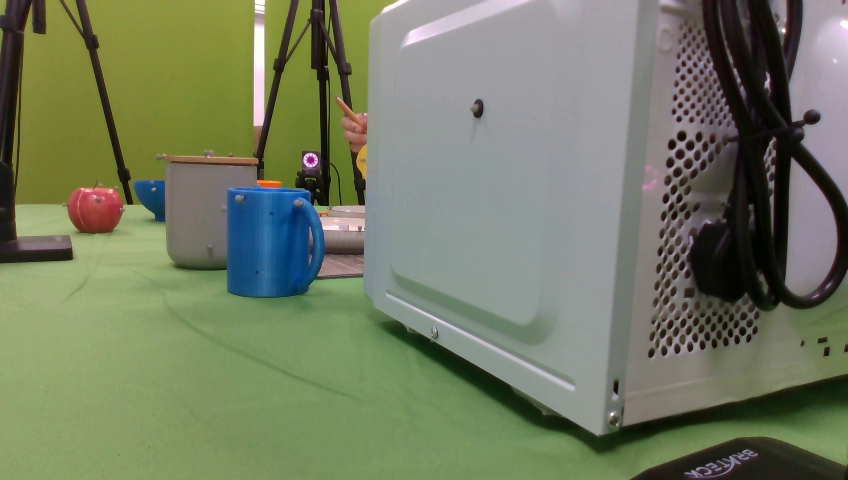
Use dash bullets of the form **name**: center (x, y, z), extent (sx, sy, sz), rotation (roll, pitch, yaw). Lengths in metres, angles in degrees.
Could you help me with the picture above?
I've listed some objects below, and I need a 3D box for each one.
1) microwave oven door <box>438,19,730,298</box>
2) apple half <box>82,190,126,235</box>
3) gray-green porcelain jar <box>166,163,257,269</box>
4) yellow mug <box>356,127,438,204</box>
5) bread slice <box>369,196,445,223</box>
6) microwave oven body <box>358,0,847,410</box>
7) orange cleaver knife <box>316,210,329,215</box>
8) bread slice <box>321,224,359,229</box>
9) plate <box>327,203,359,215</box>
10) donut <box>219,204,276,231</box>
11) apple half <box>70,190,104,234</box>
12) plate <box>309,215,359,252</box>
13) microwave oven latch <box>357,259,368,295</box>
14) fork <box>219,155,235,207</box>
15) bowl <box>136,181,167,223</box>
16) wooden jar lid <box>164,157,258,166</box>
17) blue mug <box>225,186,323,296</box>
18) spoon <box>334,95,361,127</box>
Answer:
- **microwave oven door**: center (0.181, -0.076, 0.618), extent (0.358, 0.243, 0.039), rotation (-2, 8, -28)
- **apple half**: center (-0.516, -0.046, 0.994), extent (0.032, 0.081, 0.081), rotation (0, 6, 26)
- **gray-green porcelain jar**: center (-0.263, -0.031, 0.754), extent (0.106, 0.126, 0.106), rotation (2, 7, 0)
- **yellow mug**: center (-0.032, -0.117, 0.888), extent (0.130, 0.064, 0.100), rotation (-36, -29, 24)
- **bread slice**: center (-0.040, -0.057, 1.142), extent (0.107, 0.018, 0.133), rotation (-8, -8, -40)
- **microwave oven body**: center (0.210, -0.051, 0.471), extent (0.444, 0.260, 0.324), rotation (-1, 7, -28)
- **orange cleaver knife**: center (-0.259, -0.064, 1.423), extent (0.212, 0.012, 0.077), rotation (-4, 3, -30)
- **bread slice**: center (-0.125, -0.009, 0.938), extent (0.131, 0.019, 0.105), rotation (6, 8, 32)
- **plate**: center (-0.102, -0.053, 1.299), extent (0.209, 0.038, 0.209), rotation (2, 8, 0)
- **donut**: center (-0.316, -0.039, 1.083), extent (0.099, 0.048, 0.099), rotation (3, 7, 0)
- **apple half**: center (-0.552, -0.048, 1.010), extent (0.053, 0.074, 0.081), rotation (-1, 10, 26)
- **plate**: center (-0.130, -0.011, 0.945), extent (0.208, 0.039, 0.207), rotation (2, 8, 0)
- **microwave oven latch**: center (-0.019, 0.031, 0.529), extent (0.079, 0.029, 0.030), rotation (-1, 7, -26)
- **fork**: center (-0.459, -0.134, 1.415), extent (0.028, 0.018, 0.207), rotation (-1, -34, -24)
- **bowl**: center (-0.497, -0.076, 1.221), extent (0.151, 0.077, 0.151), rotation (2, 8, 0)
- **wooden jar lid**: center (-0.261, -0.093, 0.746), extent (0.108, 0.020, 0.108), rotation (0, 9, 0)
- **blue mug**: center (-0.148, 0.000, 0.618), extent (0.116, 0.106, 0.083), rotation (7, 9, 33)
- **spoon**: center (-0.085, -0.159, 0.936), extent (0.021, 0.193, 0.042), rotation (-36, -21, 2)
